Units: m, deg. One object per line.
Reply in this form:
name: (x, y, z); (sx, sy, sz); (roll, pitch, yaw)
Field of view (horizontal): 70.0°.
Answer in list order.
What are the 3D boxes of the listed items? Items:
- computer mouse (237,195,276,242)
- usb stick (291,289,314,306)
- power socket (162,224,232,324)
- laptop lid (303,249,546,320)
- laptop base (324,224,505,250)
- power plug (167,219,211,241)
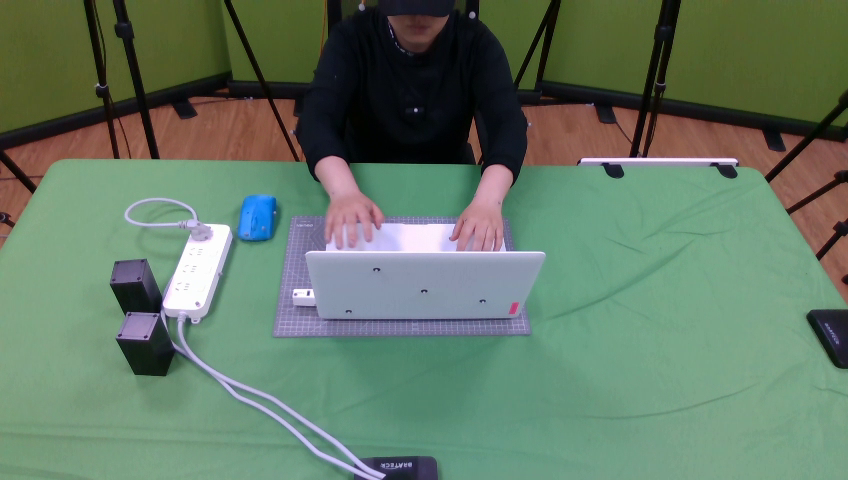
computer mouse: (-0.333, -0.047, 1.207); (0.063, 0.041, 0.116); (3, 50, -5)
usb stick: (-0.203, 0.102, 1.066); (0.059, 0.027, 0.021); (4, 44, -5)
power socket: (-0.410, 0.052, 1.106); (0.072, 0.033, 0.225); (4, 45, -1)
laptop lid: (-0.003, 0.077, 0.961); (0.357, 0.242, 0.013); (1, 58, -5)
laptop base: (-0.014, 0.055, 1.144); (0.355, 0.023, 0.234); (0, 42, -4)
power plug: (-0.438, -0.017, 1.143); (0.072, 0.053, 0.035); (9, 43, 7)
